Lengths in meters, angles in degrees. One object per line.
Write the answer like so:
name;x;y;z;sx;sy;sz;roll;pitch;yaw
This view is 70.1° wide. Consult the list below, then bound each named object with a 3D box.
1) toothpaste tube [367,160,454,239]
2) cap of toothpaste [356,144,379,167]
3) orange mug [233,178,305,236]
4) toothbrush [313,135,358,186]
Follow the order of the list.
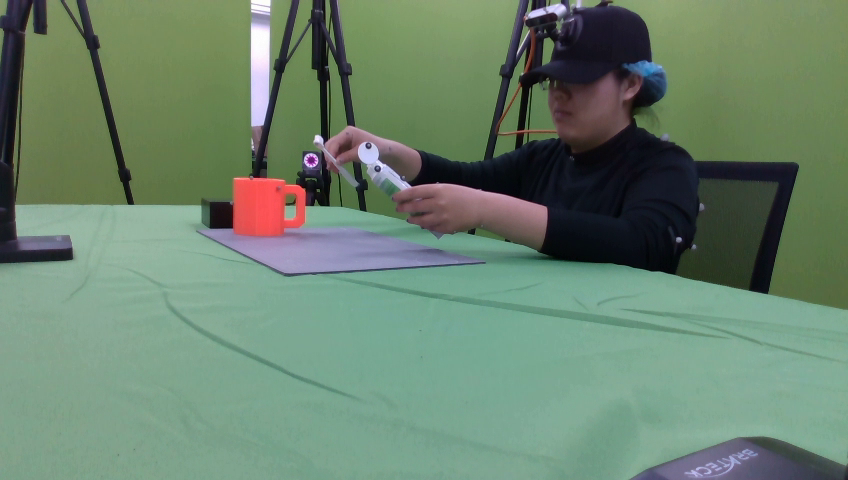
toothpaste tube;-0.025;-0.068;0.955;0.034;0.165;0.055;-51;6;-33
cap of toothpaste;-0.087;-0.129;0.927;0.037;0.037;0.011;-1;5;-21
orange mug;-0.273;-0.061;1.067;0.127;0.101;0.083;-5;10;-24
toothbrush;-0.161;-0.144;1.119;0.014;0.016;0.182;-7;-23;15
